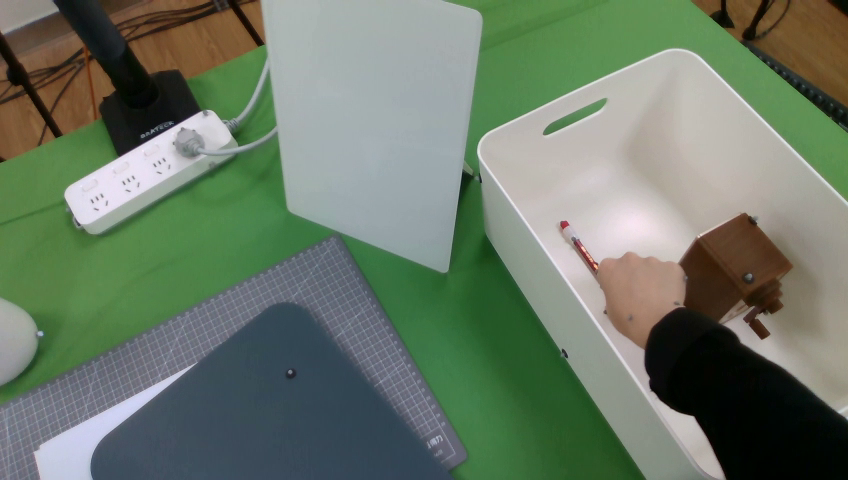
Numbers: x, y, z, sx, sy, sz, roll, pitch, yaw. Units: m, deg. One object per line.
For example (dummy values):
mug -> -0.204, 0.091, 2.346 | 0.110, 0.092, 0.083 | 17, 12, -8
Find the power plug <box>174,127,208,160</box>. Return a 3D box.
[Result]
power plug -> -0.283, -0.107, 0.744 | 0.035, 0.053, 0.072 | -25, 64, -9

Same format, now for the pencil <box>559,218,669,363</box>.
pencil -> 0.203, 0.051, 0.655 | 0.012, 0.012, 0.192 | -26, 63, -9

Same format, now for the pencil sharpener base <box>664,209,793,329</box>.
pencil sharpener base -> 0.299, 0.034, 0.603 | 0.061, 0.108, 0.076 | -26, 64, -11

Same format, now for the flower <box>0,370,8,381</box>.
flower -> -0.487, 0.021, 0.528 | 0.038, 0.365, 0.043 | -40, 48, -24

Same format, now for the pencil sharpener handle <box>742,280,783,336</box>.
pencil sharpener handle -> 0.323, 0.066, 0.570 | 0.036, 0.068, 0.030 | -27, 64, -9

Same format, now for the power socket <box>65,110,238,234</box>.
power socket -> -0.340, -0.088, 0.764 | 0.227, 0.033, 0.071 | -34, 65, -14

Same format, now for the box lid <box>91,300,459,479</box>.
box lid -> -0.126, 0.250, 0.578 | 0.263, 0.015, 0.368 | -40, 67, -17

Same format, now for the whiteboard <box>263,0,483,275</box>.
whiteboard -> -0.032, -0.146, 0.653 | 0.216, 0.308, 0.143 | 22, 46, 16

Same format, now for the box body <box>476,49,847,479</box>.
box body -> 0.240, 0.024, 0.588 | 0.254, 0.162, 0.360 | -26, 63, -10

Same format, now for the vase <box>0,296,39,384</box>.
vase -> -0.478, 0.077, 0.591 | 0.098, 0.202, 0.097 | -2, 61, 5
